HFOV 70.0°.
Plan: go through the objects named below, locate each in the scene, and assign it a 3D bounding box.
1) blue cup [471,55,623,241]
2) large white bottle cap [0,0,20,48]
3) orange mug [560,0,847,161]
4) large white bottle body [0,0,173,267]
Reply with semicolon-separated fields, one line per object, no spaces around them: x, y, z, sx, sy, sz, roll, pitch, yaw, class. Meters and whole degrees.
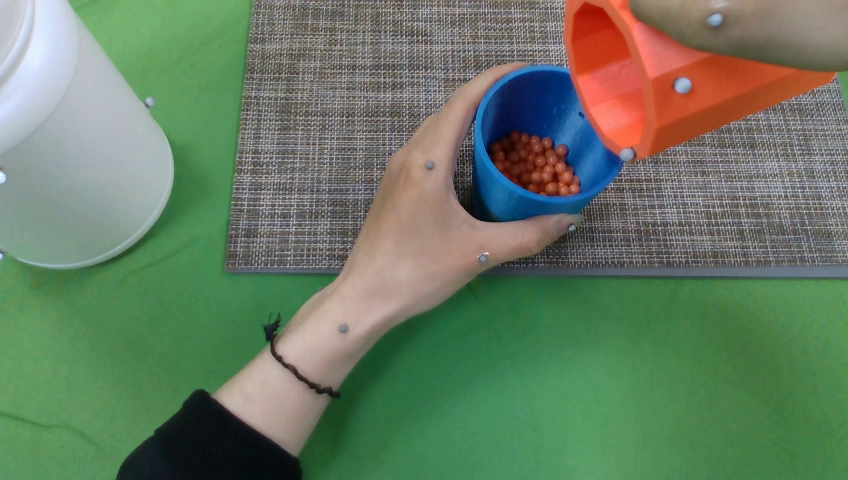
0.067;-0.044;0.374;0.093;0.101;0.092;1;71;-3;blue cup
-0.235;-0.102;0.257;0.115;0.018;0.114;1;70;-1;large white bottle cap
0.123;-0.102;0.271;0.101;0.127;0.082;-25;63;2;orange mug
-0.236;-0.071;0.336;0.131;0.185;0.129;1;70;-1;large white bottle body
